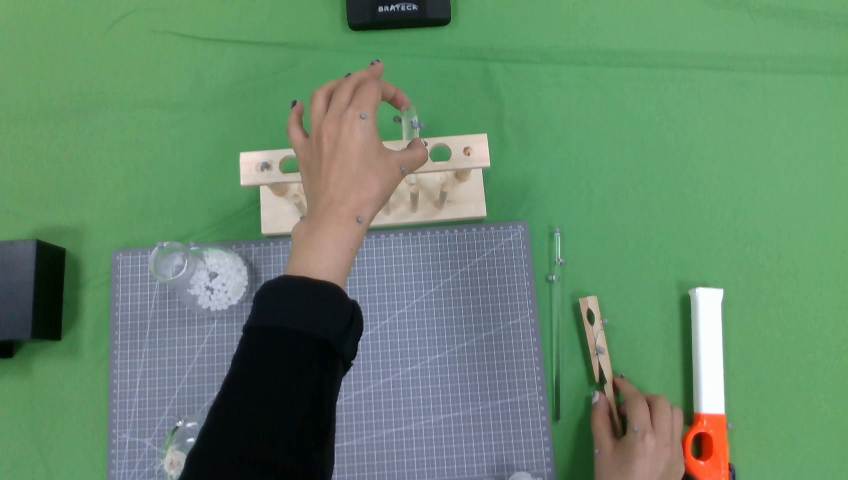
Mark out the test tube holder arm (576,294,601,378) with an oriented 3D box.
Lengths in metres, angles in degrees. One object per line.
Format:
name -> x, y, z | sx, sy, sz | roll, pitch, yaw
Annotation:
test tube holder arm -> 0.176, 0.100, 0.634 | 0.010, 0.015, 0.087 | -19, 78, 35

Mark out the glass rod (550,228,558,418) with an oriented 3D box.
glass rod -> 0.137, 0.085, 0.639 | 0.008, 0.008, 0.199 | 2, 81, 0

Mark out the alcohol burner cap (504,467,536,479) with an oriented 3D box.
alcohol burner cap -> 0.097, 0.241, 0.591 | 0.034, 0.048, 0.033 | 0, 78, 0

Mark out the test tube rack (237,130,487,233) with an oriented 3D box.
test tube rack -> -0.059, -0.058, 0.627 | 0.242, 0.085, 0.066 | -5, 79, -1

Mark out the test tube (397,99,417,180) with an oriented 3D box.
test tube -> -0.015, -0.092, 0.583 | 0.017, 0.151, 0.017 | 0, 73, 0

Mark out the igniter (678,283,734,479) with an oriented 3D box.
igniter -> 0.284, 0.181, 0.613 | 0.057, 0.025, 0.275 | 5, 79, -9

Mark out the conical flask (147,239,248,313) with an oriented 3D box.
conical flask -> -0.223, 0.029, 0.588 | 0.075, 0.122, 0.075 | 0, 79, 0

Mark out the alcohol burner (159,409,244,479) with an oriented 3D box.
alcohol burner -> -0.212, 0.198, 0.561 | 0.078, 0.119, 0.077 | 0, 78, 2

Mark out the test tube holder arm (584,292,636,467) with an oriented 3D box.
test tube holder arm -> 0.190, 0.141, 0.622 | 0.013, 0.015, 0.177 | -20, 77, 34
